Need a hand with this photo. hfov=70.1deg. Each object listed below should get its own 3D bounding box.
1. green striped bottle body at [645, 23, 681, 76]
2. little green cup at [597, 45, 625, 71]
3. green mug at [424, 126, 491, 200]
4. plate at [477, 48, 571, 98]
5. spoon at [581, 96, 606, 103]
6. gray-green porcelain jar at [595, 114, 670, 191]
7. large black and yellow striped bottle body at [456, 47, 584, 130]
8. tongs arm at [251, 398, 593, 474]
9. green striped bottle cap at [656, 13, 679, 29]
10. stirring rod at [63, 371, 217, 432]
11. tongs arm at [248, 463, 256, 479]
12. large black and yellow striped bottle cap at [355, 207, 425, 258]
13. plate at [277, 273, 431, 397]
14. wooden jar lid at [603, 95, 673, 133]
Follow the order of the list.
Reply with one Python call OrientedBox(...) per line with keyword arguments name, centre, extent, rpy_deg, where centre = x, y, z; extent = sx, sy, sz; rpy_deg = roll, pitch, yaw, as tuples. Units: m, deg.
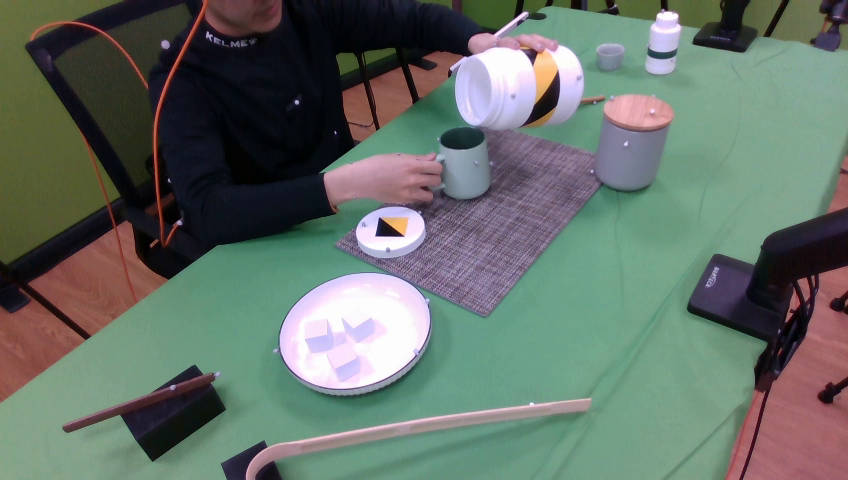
OrientedBox(name="green striped bottle body", centre=(0.520, -0.424, 1.312), extent=(0.063, 0.120, 0.063), rpy_deg=(-4, 41, 4))
OrientedBox(name="little green cup", centre=(0.423, -0.413, 1.375), extent=(0.061, 0.039, 0.061), rpy_deg=(-3, 41, 3))
OrientedBox(name="green mug", centre=(0.055, -0.125, 1.039), extent=(0.126, 0.105, 0.091), rpy_deg=(-26, 44, -20))
OrientedBox(name="plate", centre=(0.223, -0.371, 1.357), extent=(0.209, 0.038, 0.208), rpy_deg=(-4, 41, 4))
OrientedBox(name="spoon", centre=(0.291, -0.277, 1.249), extent=(0.194, 0.022, 0.041), rpy_deg=(-17, 25, -11))
OrientedBox(name="gray-green porcelain jar", centre=(0.346, -0.155, 1.017), extent=(0.106, 0.127, 0.105), rpy_deg=(-2, 43, 2))
OrientedBox(name="large black and yellow striped bottle body", centre=(0.158, -0.253, 1.009), extent=(0.185, 0.131, 0.129), rpy_deg=(-11, 38, -28))
OrientedBox(name="tongs arm", centre=(0.008, 0.212, 0.675), extent=(0.389, 0.028, 0.028), rpy_deg=(-5, 46, -11))
OrientedBox(name="green striped bottle cap", centre=(0.515, -0.463, 1.278), extent=(0.044, 0.020, 0.044), rpy_deg=(-6, 42, 6))
OrientedBox(name="stirring rod", centre=(-0.337, 0.192, 0.723), extent=(0.177, 0.014, 0.005), rpy_deg=(-18, 42, -12))
OrientedBox(name="tongs arm", centre=(0.012, 0.262, 0.615), extent=(0.385, 0.026, 0.050), rpy_deg=(2, 41, -2))
OrientedBox(name="large black and yellow striped bottle cap", centre=(-0.056, -0.014, 0.993), extent=(0.115, 0.019, 0.114), rpy_deg=(-3, 40, 3))
OrientedBox(name="plate", centre=(-0.091, 0.129, 0.821), extent=(0.207, 0.039, 0.206), rpy_deg=(-4, 40, 4))
OrientedBox(name="wooden jar lid", centre=(0.343, -0.200, 0.974), extent=(0.108, 0.021, 0.108), rpy_deg=(-1, 39, 2))
